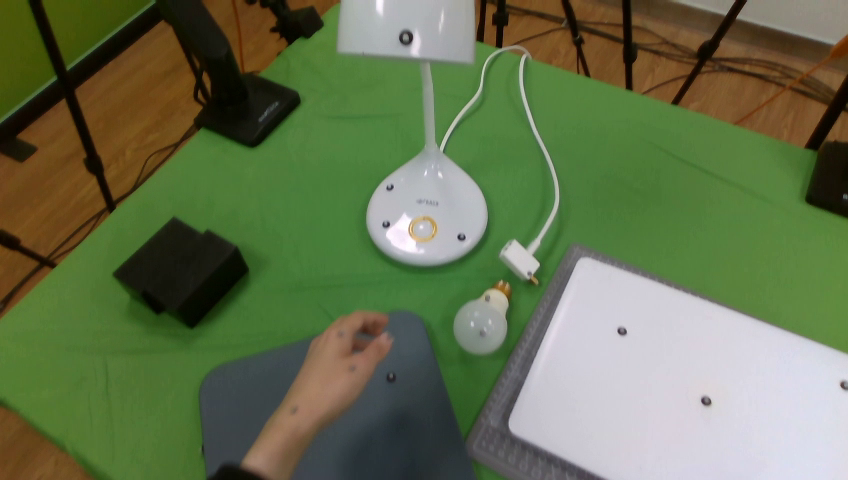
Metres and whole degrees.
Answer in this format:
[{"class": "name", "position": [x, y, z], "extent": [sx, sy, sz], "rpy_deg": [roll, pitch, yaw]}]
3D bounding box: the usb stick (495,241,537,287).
[{"class": "usb stick", "position": [0.116, 0.031, 0.733], "extent": [0.059, 0.021, 0.027], "rpy_deg": [47, 70, -7]}]

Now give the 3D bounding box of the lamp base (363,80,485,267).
[{"class": "lamp base", "position": [-0.004, -0.088, 0.737], "extent": [0.160, 0.182, 0.177], "rpy_deg": [-1, 52, 3]}]

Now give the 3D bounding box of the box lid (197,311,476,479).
[{"class": "box lid", "position": [-0.081, 0.254, 0.606], "extent": [0.263, 0.015, 0.367], "rpy_deg": [-16, 57, -8]}]

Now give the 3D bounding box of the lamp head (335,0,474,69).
[{"class": "lamp head", "position": [-0.012, -0.196, 0.474], "extent": [0.112, 0.112, 0.123], "rpy_deg": [4, 100, 0]}]

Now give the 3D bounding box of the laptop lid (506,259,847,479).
[{"class": "laptop lid", "position": [0.288, 0.168, 0.628], "extent": [0.355, 0.013, 0.240], "rpy_deg": [23, 62, 18]}]

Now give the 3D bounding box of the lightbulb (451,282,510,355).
[{"class": "lightbulb", "position": [0.071, 0.085, 0.694], "extent": [0.059, 0.060, 0.107], "rpy_deg": [22, 43, 18]}]

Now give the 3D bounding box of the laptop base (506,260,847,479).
[{"class": "laptop base", "position": [0.290, 0.174, 0.639], "extent": [0.352, 0.023, 0.234], "rpy_deg": [21, 62, 17]}]
